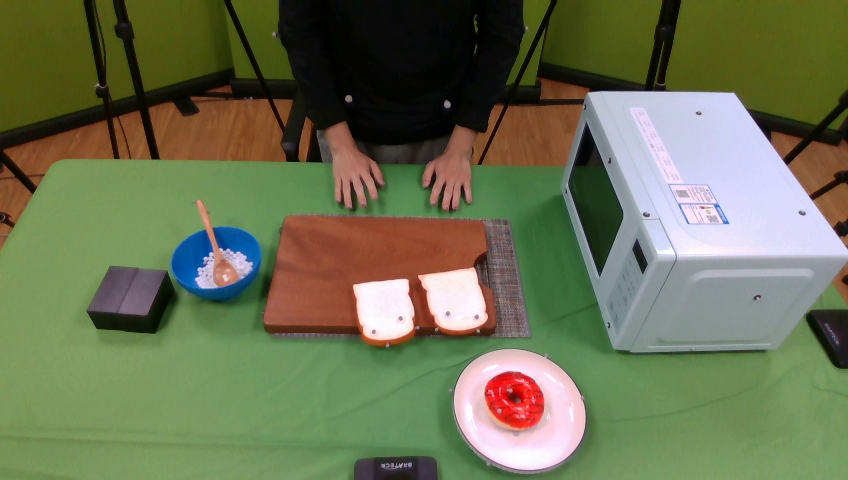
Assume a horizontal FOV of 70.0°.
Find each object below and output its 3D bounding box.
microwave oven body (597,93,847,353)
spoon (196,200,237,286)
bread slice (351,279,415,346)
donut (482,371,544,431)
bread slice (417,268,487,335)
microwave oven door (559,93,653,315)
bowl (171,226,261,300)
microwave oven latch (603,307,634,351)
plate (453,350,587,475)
[{"bbox_3d":[0.475,-0.041,1.110,0.326,0.261,0.438,-1,45,-4],"label":"microwave oven body"},{"bbox_3d":[-0.378,0.003,1.086,0.042,0.022,0.193,-15,67,-24],"label":"spoon"},{"bbox_3d":[-0.067,0.122,1.040,0.105,0.019,0.130,-7,47,-9],"label":"bread slice"},{"bbox_3d":[0.139,0.250,0.942,0.099,0.048,0.098,5,45,-4],"label":"donut"},{"bbox_3d":[0.055,0.107,1.063,0.107,0.018,0.133,-9,48,-12],"label":"bread slice"},{"bbox_3d":[0.327,-0.074,1.123,0.039,0.245,0.353,-1,46,-5],"label":"microwave oven door"},{"bbox_3d":[-0.363,0.054,1.081,0.151,0.077,0.150,2,45,-2],"label":"bowl"},{"bbox_3d":[0.332,0.153,1.044,0.030,0.029,0.078,0,45,-4],"label":"microwave oven latch"},{"bbox_3d":[0.147,0.267,0.943,0.208,0.039,0.206,2,46,-2],"label":"plate"}]
